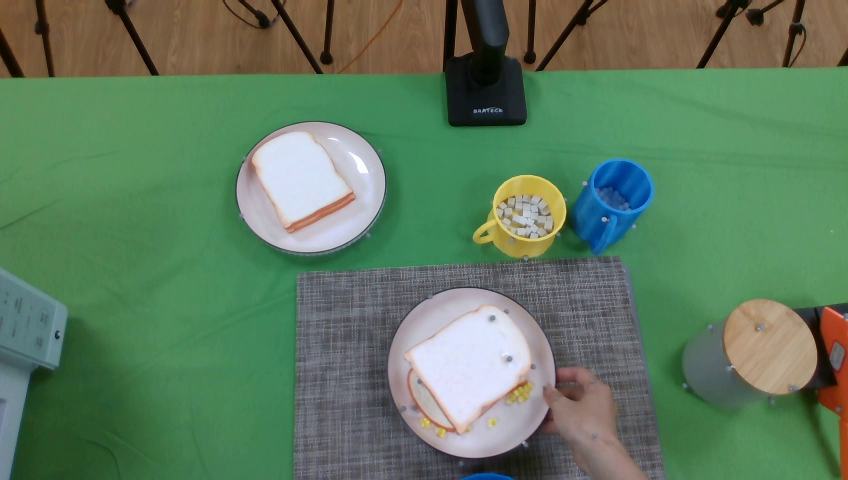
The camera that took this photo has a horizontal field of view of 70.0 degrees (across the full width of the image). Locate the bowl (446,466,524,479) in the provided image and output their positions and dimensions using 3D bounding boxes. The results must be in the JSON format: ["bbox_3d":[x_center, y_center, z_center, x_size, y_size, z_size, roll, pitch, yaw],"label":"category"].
[{"bbox_3d":[0.066,0.332,0.677,0.151,0.077,0.150,1,69,-2],"label":"bowl"}]

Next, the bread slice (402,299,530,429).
[{"bbox_3d":[0.054,0.131,0.695,0.134,0.018,0.106,-36,81,-21],"label":"bread slice"}]

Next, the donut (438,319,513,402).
[{"bbox_3d":[0.062,0.144,0.723,0.099,0.048,0.098,11,63,-22],"label":"donut"}]

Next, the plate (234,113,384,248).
[{"bbox_3d":[-0.159,-0.081,0.854,0.208,0.039,0.206,1,68,-2],"label":"plate"}]

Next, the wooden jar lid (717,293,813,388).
[{"bbox_3d":[0.382,0.113,0.683,0.108,0.021,0.107,2,71,-4],"label":"wooden jar lid"}]

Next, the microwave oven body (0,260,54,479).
[{"bbox_3d":[-0.606,0.232,0.586,0.326,0.261,0.438,-1,69,-3],"label":"microwave oven body"}]

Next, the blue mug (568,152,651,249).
[{"bbox_3d":[0.245,-0.043,0.819,0.082,0.106,0.116,17,69,5],"label":"blue mug"}]

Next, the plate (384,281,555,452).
[{"bbox_3d":[0.055,0.154,0.749,0.209,0.038,0.207,1,69,-2],"label":"plate"}]

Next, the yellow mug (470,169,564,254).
[{"bbox_3d":[0.122,-0.033,0.831,0.131,0.064,0.099,-23,70,-10],"label":"yellow mug"}]

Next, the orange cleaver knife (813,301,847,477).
[{"bbox_3d":[0.510,0.183,0.752,0.012,0.077,0.211,-4,95,-3],"label":"orange cleaver knife"}]

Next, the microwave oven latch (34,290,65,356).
[{"bbox_3d":[-0.467,0.102,0.747,0.030,0.029,0.078,2,69,-2],"label":"microwave oven latch"}]

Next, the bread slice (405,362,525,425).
[{"bbox_3d":[0.045,0.163,0.748,0.131,0.019,0.104,-34,73,-16],"label":"bread slice"}]

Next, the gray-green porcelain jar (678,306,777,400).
[{"bbox_3d":[0.381,0.138,0.741,0.106,0.127,0.105,1,68,-2],"label":"gray-green porcelain jar"}]
